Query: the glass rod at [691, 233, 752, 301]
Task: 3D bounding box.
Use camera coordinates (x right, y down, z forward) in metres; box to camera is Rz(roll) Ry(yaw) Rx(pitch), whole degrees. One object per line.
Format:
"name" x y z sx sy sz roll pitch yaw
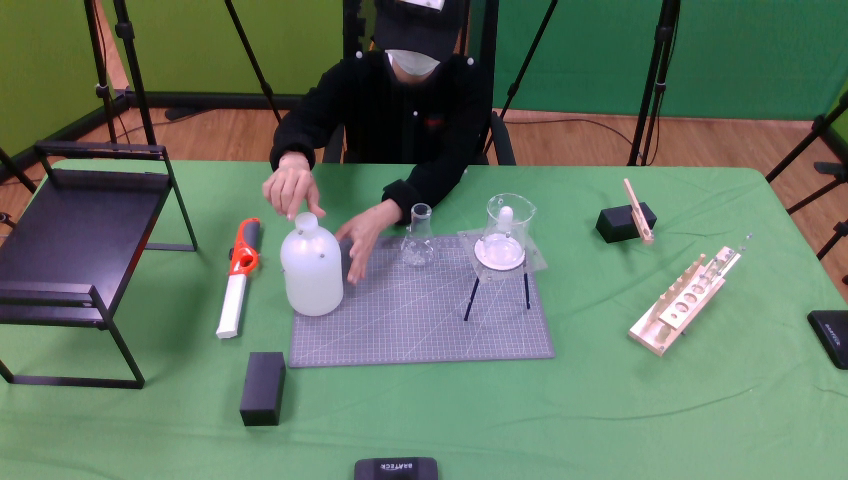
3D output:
"glass rod" 0.507 0.053 1.041 0.008 0.200 0.008 5 50 -6

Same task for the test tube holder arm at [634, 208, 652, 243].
"test tube holder arm" 0.428 -0.030 1.189 0.010 0.015 0.087 2 47 -3

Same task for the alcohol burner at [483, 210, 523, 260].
"alcohol burner" 0.152 -0.018 1.156 0.078 0.120 0.077 0 47 0

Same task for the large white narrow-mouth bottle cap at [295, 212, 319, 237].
"large white narrow-mouth bottle cap" -0.185 -0.025 0.961 0.038 0.024 0.037 2 46 -2

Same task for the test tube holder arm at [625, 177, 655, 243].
"test tube holder arm" 0.433 -0.062 1.220 0.013 0.015 0.177 2 47 -3

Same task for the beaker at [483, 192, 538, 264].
"beaker" 0.136 -0.017 0.980 0.084 0.101 0.073 -6 45 -9

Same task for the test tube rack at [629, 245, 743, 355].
"test tube rack" 0.474 0.095 1.091 0.242 0.085 0.066 -34 56 -31

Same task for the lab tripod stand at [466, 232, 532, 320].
"lab tripod stand" 0.125 0.059 1.065 0.148 0.132 0.147 1 45 0

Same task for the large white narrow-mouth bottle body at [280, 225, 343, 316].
"large white narrow-mouth bottle body" -0.191 0.035 1.025 0.102 0.195 0.101 2 46 -2

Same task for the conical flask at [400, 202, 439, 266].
"conical flask" -0.007 -0.014 1.135 0.075 0.122 0.075 2 46 -2

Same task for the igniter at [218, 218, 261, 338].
"igniter" -0.336 0.060 1.111 0.057 0.025 0.274 -7 46 4

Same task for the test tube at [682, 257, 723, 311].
"test tube" 0.475 0.080 1.037 0.017 0.151 0.017 1 51 -1

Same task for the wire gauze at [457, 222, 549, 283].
"wire gauze" 0.131 0.016 1.017 0.121 0.011 0.124 -10 44 -15

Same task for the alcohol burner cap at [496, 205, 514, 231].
"alcohol burner cap" 0.153 -0.045 1.131 0.034 0.048 0.033 2 40 -1
